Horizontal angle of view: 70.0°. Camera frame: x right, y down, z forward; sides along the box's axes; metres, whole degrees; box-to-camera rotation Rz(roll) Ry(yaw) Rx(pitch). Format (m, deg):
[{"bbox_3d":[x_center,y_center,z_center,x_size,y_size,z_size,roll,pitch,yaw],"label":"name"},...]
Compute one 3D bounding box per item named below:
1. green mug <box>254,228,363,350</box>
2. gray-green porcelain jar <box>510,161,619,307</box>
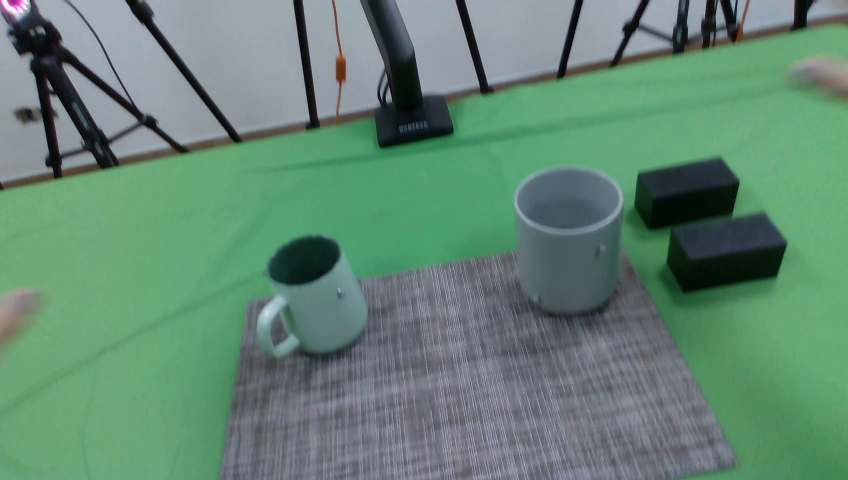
[{"bbox_3d":[-0.127,0.062,0.637,0.092,0.106,0.125,19,50,29],"label":"green mug"},{"bbox_3d":[0.145,-0.001,0.631,0.106,0.128,0.105,-7,42,6],"label":"gray-green porcelain jar"}]
